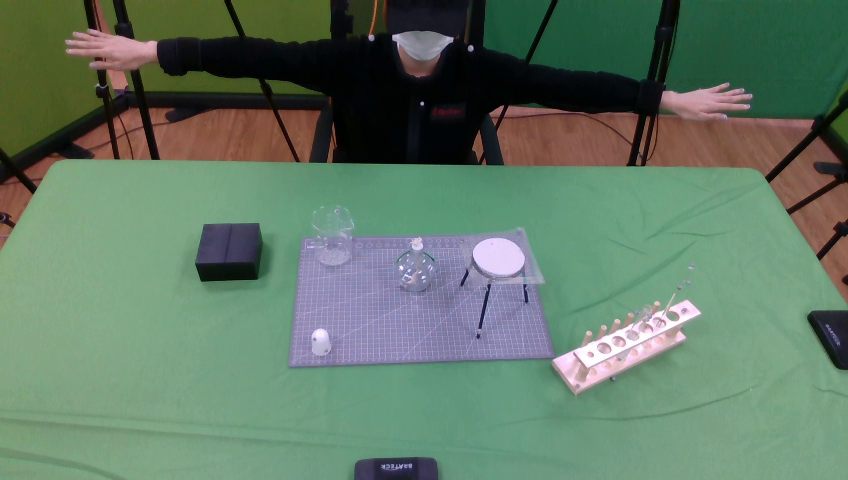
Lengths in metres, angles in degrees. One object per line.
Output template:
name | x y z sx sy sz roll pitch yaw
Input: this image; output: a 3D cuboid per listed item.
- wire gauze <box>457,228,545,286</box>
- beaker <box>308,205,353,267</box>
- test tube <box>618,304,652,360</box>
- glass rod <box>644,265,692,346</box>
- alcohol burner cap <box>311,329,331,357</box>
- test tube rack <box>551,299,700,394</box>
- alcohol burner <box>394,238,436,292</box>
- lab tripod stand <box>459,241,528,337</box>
wire gauze | 0.126 0.029 1.006 0.125 0.011 0.120 -4 46 -10
beaker | -0.171 -0.004 1.132 0.084 0.101 0.073 16 47 10
test tube | 0.335 0.149 0.967 0.017 0.151 0.017 1 50 0
glass rod | 0.395 0.112 0.985 0.008 0.200 0.008 4 43 -3
alcohol burner cap | -0.173 0.168 1.004 0.034 0.048 0.033 2 46 -2
test tube rack | 0.339 0.166 1.021 0.242 0.085 0.066 -19 50 -21
alcohol burner | -0.016 0.038 1.093 0.078 0.119 0.077 2 48 -2
lab tripod stand | 0.122 0.075 1.054 0.148 0.132 0.147 3 44 -3
